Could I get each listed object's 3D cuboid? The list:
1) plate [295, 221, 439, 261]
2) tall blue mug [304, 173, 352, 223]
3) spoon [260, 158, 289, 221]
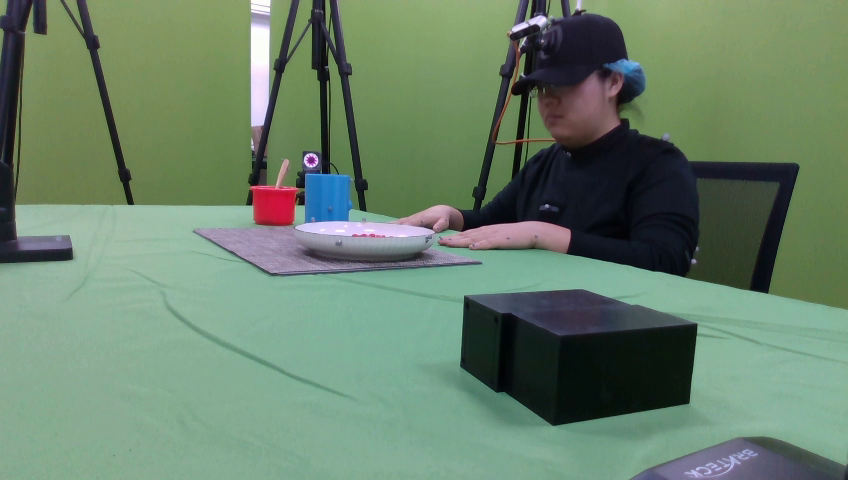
[{"bbox_3d":[-0.083,0.001,0.885,0.208,0.039,0.207,2,7,0],"label":"plate"},{"bbox_3d":[-0.178,-0.063,1.062,0.078,0.108,0.106,-5,10,-38],"label":"tall blue mug"},{"bbox_3d":[-0.308,-0.110,1.277,0.041,0.022,0.193,-1,51,6],"label":"spoon"}]
